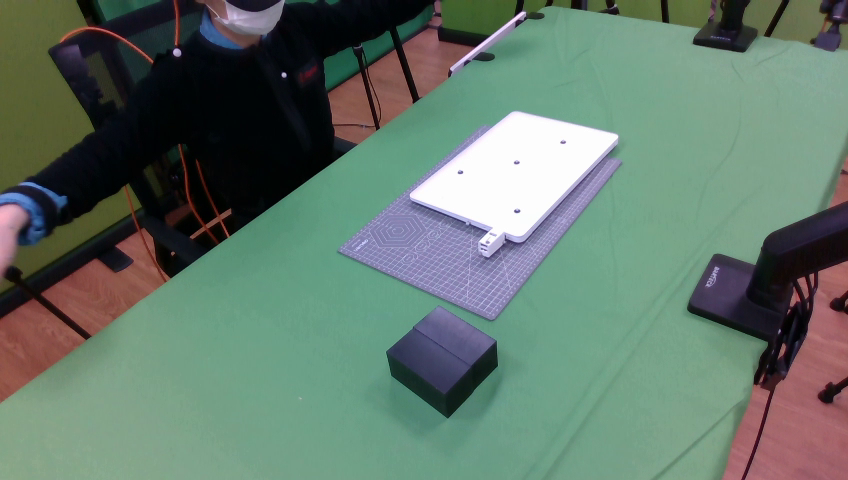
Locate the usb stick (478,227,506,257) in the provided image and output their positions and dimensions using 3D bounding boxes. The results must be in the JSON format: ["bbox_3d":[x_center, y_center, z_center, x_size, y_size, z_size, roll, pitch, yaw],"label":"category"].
[{"bbox_3d":[0.109,-0.001,0.934,0.021,0.027,0.059,23,43,33],"label":"usb stick"}]

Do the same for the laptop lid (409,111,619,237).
[{"bbox_3d":[0.167,-0.137,1.089,0.239,0.013,0.358,24,48,34],"label":"laptop lid"}]

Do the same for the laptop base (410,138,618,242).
[{"bbox_3d":[0.170,-0.127,1.096,0.233,0.023,0.355,21,47,34],"label":"laptop base"}]
